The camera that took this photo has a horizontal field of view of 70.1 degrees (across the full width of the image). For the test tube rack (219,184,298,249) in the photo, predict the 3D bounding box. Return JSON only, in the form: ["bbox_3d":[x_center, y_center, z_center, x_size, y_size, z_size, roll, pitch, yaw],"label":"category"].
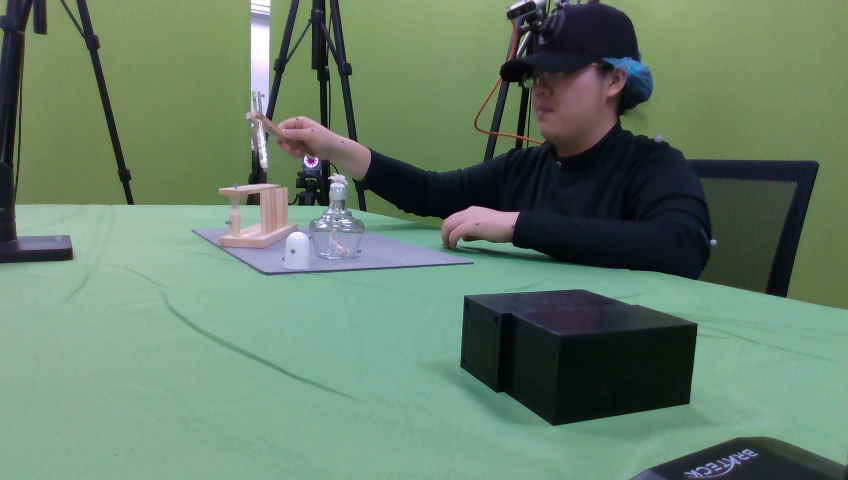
[{"bbox_3d":[-0.266,-0.046,1.001,0.067,0.085,0.242,3,7,0],"label":"test tube rack"}]

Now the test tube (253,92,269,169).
[{"bbox_3d":[-0.293,-0.197,1.085,0.017,0.150,0.017,-9,-14,-2],"label":"test tube"}]

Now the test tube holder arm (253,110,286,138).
[{"bbox_3d":[-0.282,-0.210,1.108,0.010,0.015,0.088,-15,-24,17],"label":"test tube holder arm"}]

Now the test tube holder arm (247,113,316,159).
[{"bbox_3d":[-0.267,-0.195,1.148,0.013,0.015,0.179,-18,-25,24],"label":"test tube holder arm"}]

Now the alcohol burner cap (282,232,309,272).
[{"bbox_3d":[-0.157,0.014,0.740,0.034,0.048,0.034,2,6,0],"label":"alcohol burner cap"}]

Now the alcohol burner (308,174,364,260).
[{"bbox_3d":[-0.121,-0.033,0.841,0.078,0.119,0.078,3,5,0],"label":"alcohol burner"}]
